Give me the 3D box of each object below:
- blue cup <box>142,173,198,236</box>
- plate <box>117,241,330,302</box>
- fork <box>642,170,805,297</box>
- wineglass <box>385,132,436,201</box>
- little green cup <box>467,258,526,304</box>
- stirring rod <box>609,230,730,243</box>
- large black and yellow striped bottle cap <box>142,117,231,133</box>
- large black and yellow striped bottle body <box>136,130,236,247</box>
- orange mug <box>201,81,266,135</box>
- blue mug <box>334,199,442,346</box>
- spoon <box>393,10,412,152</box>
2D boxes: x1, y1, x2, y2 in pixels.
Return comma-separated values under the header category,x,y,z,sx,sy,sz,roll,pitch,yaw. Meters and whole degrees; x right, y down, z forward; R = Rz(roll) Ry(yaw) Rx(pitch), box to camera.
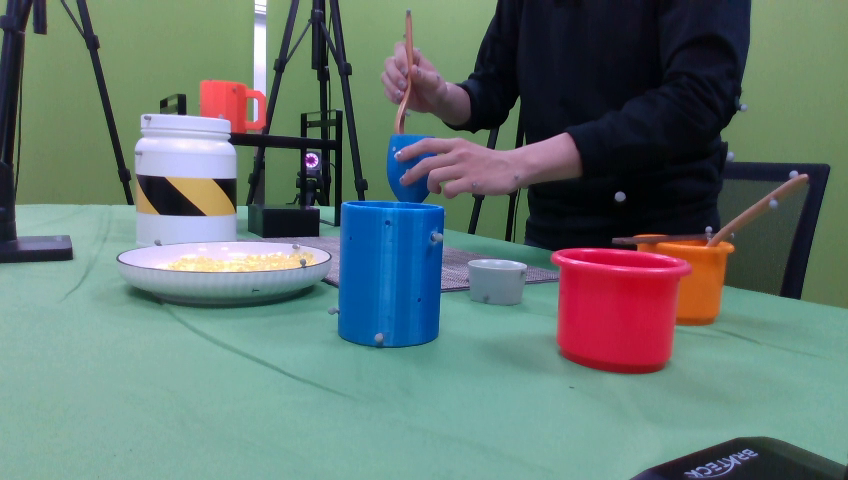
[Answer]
category,x,y,z,sx,sy,sz,roll,pitch,yaw
blue cup,-0.425,-0.060,1.014,0.093,0.100,0.092,4,9,0
plate,-0.203,0.031,0.629,0.209,0.038,0.209,3,7,0
fork,0.261,0.004,0.545,0.028,0.018,0.207,5,-37,-15
wineglass,-0.020,-0.061,0.842,0.074,0.172,0.073,2,7,0
little green cup,0.074,0.042,0.625,0.061,0.038,0.061,3,7,0
stirring rod,0.241,-0.004,0.582,0.177,0.006,0.014,-4,9,-33
large black and yellow striped bottle cap,-0.328,-0.159,0.839,0.115,0.019,0.115,1,9,0
large black and yellow striped bottle body,-0.332,-0.076,0.851,0.131,0.184,0.130,3,8,0
orange mug,-0.377,-0.260,1.198,0.126,0.101,0.083,-3,8,-6
blue mug,-0.034,0.020,0.498,0.083,0.106,0.116,0,7,-20
spoon,-0.026,-0.218,0.829,0.021,0.193,0.042,6,0,10
